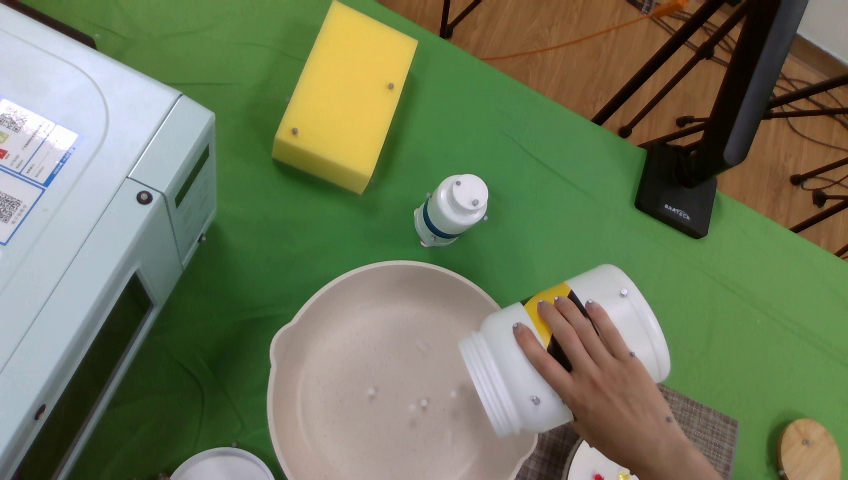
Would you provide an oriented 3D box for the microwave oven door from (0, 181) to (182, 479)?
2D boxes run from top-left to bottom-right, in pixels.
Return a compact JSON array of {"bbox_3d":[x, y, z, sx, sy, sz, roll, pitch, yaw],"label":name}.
[{"bbox_3d":[-0.299,0.141,0.474,0.039,0.244,0.354,26,68,-10],"label":"microwave oven door"}]

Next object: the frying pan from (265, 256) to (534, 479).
[{"bbox_3d":[-0.057,0.250,0.619,0.308,0.103,0.484,25,60,-8],"label":"frying pan"}]

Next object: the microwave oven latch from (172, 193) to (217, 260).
[{"bbox_3d":[-0.251,-0.020,0.647,0.030,0.029,0.079,29,68,-10],"label":"microwave oven latch"}]

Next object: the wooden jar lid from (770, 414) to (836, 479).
[{"bbox_3d":[0.535,0.302,0.857,0.109,0.021,0.108,5,75,-17],"label":"wooden jar lid"}]

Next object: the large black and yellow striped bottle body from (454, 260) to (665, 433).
[{"bbox_3d":[0.135,0.114,0.627,0.184,0.131,0.130,-24,83,1],"label":"large black and yellow striped bottle body"}]

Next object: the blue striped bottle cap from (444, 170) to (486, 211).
[{"bbox_3d":[0.047,-0.056,0.679,0.045,0.020,0.044,5,75,-17],"label":"blue striped bottle cap"}]

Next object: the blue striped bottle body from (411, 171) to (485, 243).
[{"bbox_3d":[0.031,-0.042,0.725,0.063,0.121,0.062,5,73,-17],"label":"blue striped bottle body"}]

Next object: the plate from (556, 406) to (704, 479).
[{"bbox_3d":[0.250,0.312,0.742,0.210,0.038,0.208,5,73,-17],"label":"plate"}]

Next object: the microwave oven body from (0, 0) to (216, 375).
[{"bbox_3d":[-0.415,0.042,0.468,0.327,0.260,0.439,26,69,-11],"label":"microwave oven body"}]

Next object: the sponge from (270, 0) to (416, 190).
[{"bbox_3d":[-0.098,-0.182,0.753,0.119,0.061,0.205,21,69,-12],"label":"sponge"}]
